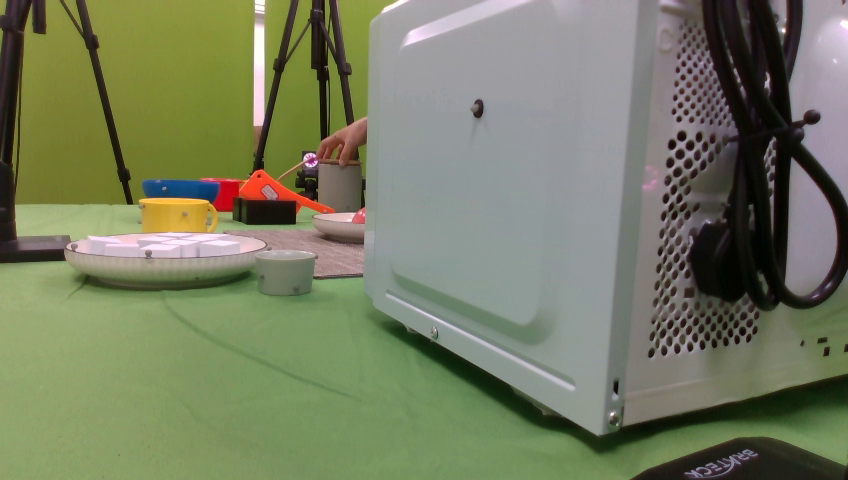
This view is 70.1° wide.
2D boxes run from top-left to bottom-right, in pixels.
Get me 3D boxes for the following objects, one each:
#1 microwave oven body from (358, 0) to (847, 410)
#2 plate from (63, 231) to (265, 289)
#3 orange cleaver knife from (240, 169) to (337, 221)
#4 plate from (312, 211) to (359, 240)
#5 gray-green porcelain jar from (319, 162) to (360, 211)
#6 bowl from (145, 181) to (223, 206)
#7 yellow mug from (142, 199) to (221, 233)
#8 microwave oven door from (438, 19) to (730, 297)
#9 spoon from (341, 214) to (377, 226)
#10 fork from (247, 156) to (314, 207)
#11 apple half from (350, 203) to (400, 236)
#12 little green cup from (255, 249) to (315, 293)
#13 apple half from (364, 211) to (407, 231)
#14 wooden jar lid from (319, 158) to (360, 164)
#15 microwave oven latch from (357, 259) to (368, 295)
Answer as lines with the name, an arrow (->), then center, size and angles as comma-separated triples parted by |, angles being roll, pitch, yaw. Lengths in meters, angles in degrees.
microwave oven body -> 0.210, -0.051, 0.471 | 0.444, 0.260, 0.324 | -1, 7, -28
plate -> -0.288, 0.021, 0.687 | 0.208, 0.039, 0.207 | 2, 8, 0
orange cleaver knife -> -0.286, -0.082, 1.299 | 0.212, 0.077, 0.012 | 25, -2, -31
plate -> -0.091, -0.026, 1.063 | 0.209, 0.038, 0.209 | 2, 7, 0
gray-green porcelain jar -> -0.204, -0.126, 1.490 | 0.106, 0.126, 0.106 | 2, 7, 0
bowl -> -0.499, -0.081, 1.261 | 0.151, 0.077, 0.151 | 2, 8, 0
yellow mug -> -0.372, -0.030, 0.947 | 0.099, 0.064, 0.131 | 6, 7, 30
microwave oven door -> 0.181, -0.076, 0.618 | 0.358, 0.243, 0.039 | -2, 8, -28
spoon -> -0.132, -0.048, 1.305 | 0.041, 0.021, 0.194 | -14, 4, 14
fork -> -0.360, -0.147, 1.523 | 0.207, 0.018, 0.028 | -43, 15, -7
apple half -> -0.081, -0.036, 1.024 | 0.081, 0.053, 0.074 | -2, 11, -34
little green cup -> -0.144, 0.032, 0.627 | 0.061, 0.038, 0.061 | 2, 6, 0
apple half -> -0.068, -0.037, 1.103 | 0.081, 0.033, 0.081 | -1, 9, 1
wooden jar lid -> -0.202, -0.190, 1.481 | 0.108, 0.020, 0.108 | 3, 10, 0
microwave oven latch -> -0.019, 0.031, 0.529 | 0.079, 0.029, 0.030 | -1, 7, -26
